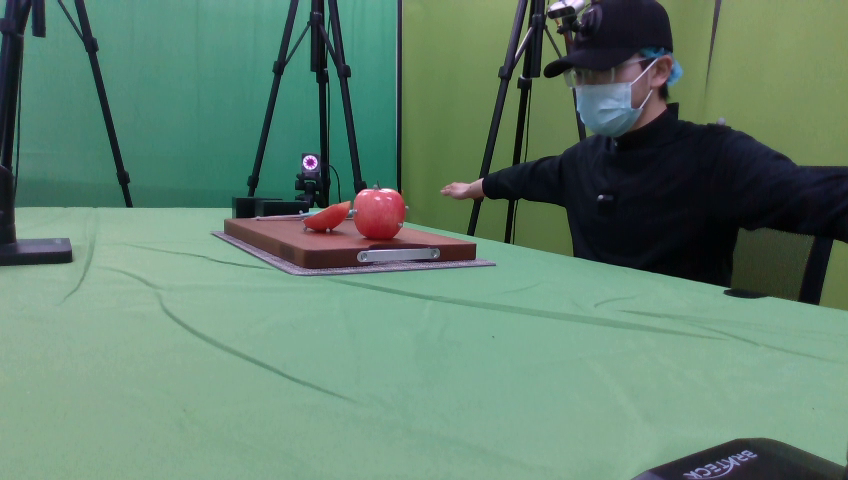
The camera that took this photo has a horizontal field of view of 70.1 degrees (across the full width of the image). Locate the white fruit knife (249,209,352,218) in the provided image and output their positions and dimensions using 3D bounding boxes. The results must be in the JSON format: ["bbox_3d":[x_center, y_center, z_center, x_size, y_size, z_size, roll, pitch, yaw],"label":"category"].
[{"bbox_3d":[-0.220,-0.047,1.116,0.208,0.016,0.027,-4,-5,-35],"label":"white fruit knife"}]

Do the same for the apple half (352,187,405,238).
[{"bbox_3d":[-0.058,-0.038,0.877,0.053,0.074,0.081,14,9,39],"label":"apple half"}]

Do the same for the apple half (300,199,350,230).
[{"bbox_3d":[-0.147,-0.035,0.941,0.081,0.033,0.081,-22,1,1],"label":"apple half"}]
